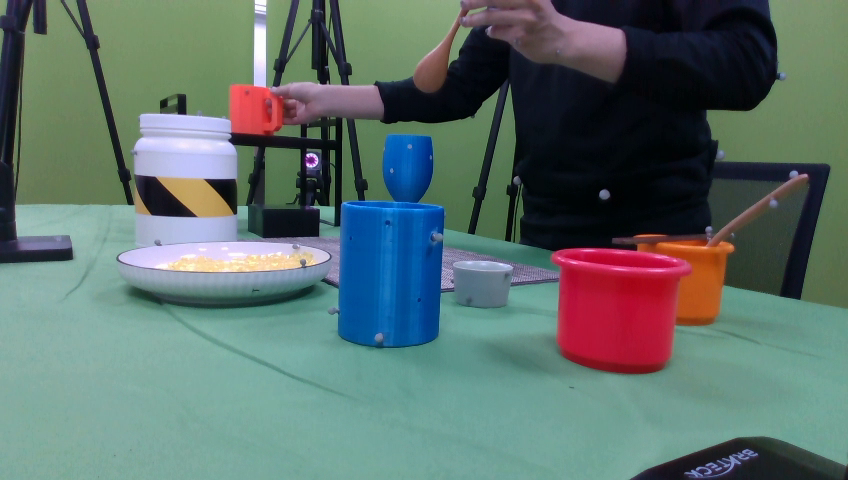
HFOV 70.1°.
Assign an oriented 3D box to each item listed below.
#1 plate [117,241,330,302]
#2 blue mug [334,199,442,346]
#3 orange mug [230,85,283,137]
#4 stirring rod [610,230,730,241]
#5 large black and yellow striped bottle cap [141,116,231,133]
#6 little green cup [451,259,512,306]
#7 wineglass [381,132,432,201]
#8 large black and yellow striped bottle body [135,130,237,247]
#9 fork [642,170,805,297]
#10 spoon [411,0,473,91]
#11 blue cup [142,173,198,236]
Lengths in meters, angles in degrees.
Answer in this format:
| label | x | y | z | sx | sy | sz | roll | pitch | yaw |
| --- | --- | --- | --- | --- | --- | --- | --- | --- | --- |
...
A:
| label | x | y | z | sx | sy | sz | roll | pitch | yaw |
| --- | --- | --- | --- | --- | --- | --- | --- | --- | --- |
| plate | -0.203 | 0.031 | 0.630 | 0.209 | 0.038 | 0.209 | 3 | 7 | 0 |
| blue mug | -0.034 | 0.020 | 0.498 | 0.083 | 0.106 | 0.116 | 0 | 7 | -19 |
| orange mug | -0.336 | -0.261 | 1.227 | 0.125 | 0.100 | 0.084 | 2 | 6 | 32 |
| stirring rod | 0.241 | -0.005 | 0.582 | 0.177 | 0.006 | 0.014 | -3 | 9 | -34 |
| large black and yellow striped bottle cap | -0.324 | -0.157 | 0.826 | 0.115 | 0.019 | 0.115 | 1 | 7 | 0 |
| little green cup | 0.057 | 0.043 | 0.612 | 0.061 | 0.038 | 0.061 | 3 | 8 | 0 |
| wineglass | -0.026 | -0.062 | 0.841 | 0.074 | 0.172 | 0.073 | 2 | 7 | 0 |
| large black and yellow striped bottle body | -0.327 | -0.074 | 0.838 | 0.131 | 0.184 | 0.130 | 2 | 7 | 0 |
| fork | 0.261 | 0.004 | 0.545 | 0.028 | 0.018 | 0.207 | 5 | -37 | -16 |
| spoon | 0.038 | -0.268 | 0.746 | 0.042 | 0.193 | 0.021 | 28 | 28 | -7 |
| blue cup | -0.425 | -0.060 | 1.014 | 0.093 | 0.100 | 0.092 | 4 | 8 | 0 |
